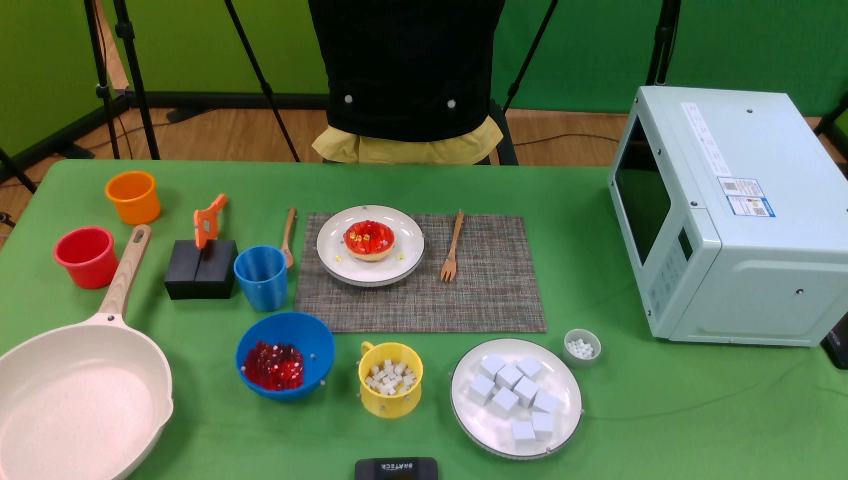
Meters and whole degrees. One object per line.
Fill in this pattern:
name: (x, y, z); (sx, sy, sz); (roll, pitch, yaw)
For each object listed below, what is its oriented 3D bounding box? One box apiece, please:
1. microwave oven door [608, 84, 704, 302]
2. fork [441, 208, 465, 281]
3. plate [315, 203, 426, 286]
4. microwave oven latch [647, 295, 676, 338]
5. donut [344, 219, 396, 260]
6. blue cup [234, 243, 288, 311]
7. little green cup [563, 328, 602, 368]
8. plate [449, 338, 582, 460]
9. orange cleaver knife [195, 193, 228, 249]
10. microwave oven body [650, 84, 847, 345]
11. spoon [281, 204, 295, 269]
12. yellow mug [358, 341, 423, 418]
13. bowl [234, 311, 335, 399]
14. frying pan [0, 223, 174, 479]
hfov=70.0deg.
microwave oven door: (0.424, -0.096, 1.138); (0.039, 0.245, 0.353); (3, 46, -1)
fork: (0.061, 0.005, 1.190); (0.028, 0.019, 0.206); (3, 47, 13)
plate: (-0.101, 0.012, 1.160); (0.209, 0.038, 0.208); (2, 46, -2)
microwave oven latch: (0.413, 0.133, 1.060); (0.030, 0.029, 0.078); (4, 46, 1)
donut: (-0.103, -0.002, 1.158); (0.099, 0.048, 0.098); (2, 43, -2)
blue cup: (-0.276, 0.072, 1.052); (0.093, 0.101, 0.092); (1, 48, -1)
little green cup: (0.265, 0.184, 1.025); (0.061, 0.039, 0.061); (1, 46, -1)
plate: (0.141, 0.251, 0.955); (0.208, 0.039, 0.206); (2, 46, -2)
orange cleaver knife: (-0.406, -0.041, 1.163); (0.012, 0.077, 0.210); (-1, 18, -3)
microwave oven body: (0.569, -0.054, 1.116); (0.326, 0.261, 0.439); (2, 46, -1)
spoon: (-0.266, -0.008, 1.181); (0.041, 0.022, 0.192); (-16, 46, 13)
yellow mug: (-0.063, 0.210, 0.961); (0.100, 0.064, 0.130); (-29, 54, -28)
bowl: (-0.214, 0.194, 0.956); (0.151, 0.077, 0.150); (2, 46, -2)
frying pan: (-0.505, 0.169, 0.941); (0.307, 0.103, 0.485); (5, 54, -1)
